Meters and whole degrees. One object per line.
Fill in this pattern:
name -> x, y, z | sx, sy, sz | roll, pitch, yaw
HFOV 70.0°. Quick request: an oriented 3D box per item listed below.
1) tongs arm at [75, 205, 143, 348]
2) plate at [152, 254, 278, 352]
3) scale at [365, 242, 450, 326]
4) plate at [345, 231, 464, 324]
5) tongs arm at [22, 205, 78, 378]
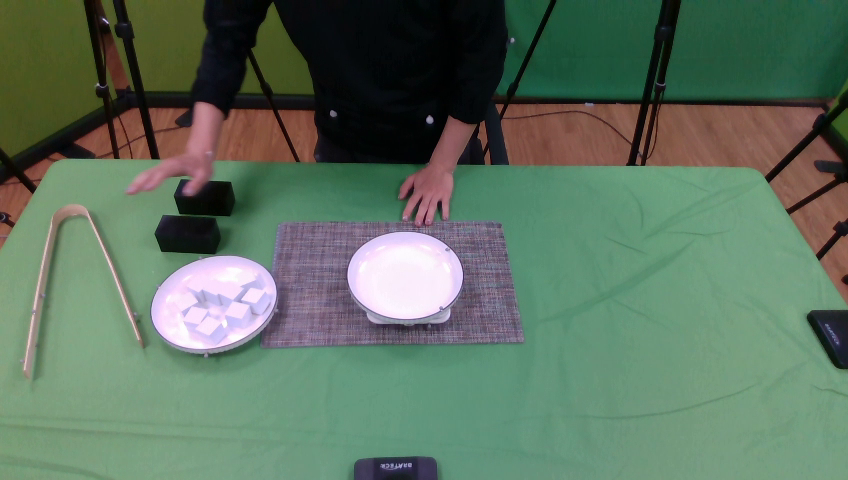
tongs arm -> -0.570, 0.053, 1.097 | 0.028, 0.028, 0.385 | -26, 53, -22
plate -> -0.357, 0.111, 1.052 | 0.208, 0.039, 0.206 | 2, 46, -2
scale -> -0.032, 0.071, 1.113 | 0.149, 0.032, 0.199 | 0, 46, -4
plate -> -0.034, 0.069, 1.069 | 0.209, 0.038, 0.208 | 2, 46, -2
tongs arm -> -0.652, 0.073, 1.067 | 0.051, 0.026, 0.382 | -11, 47, -15
